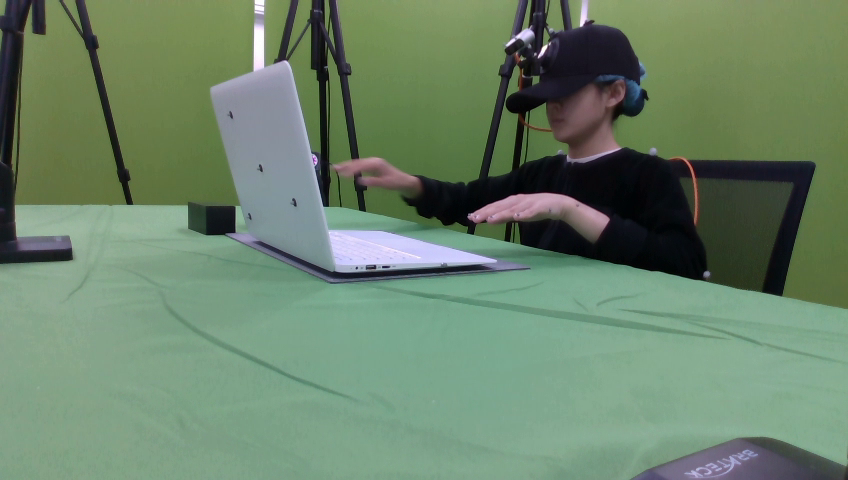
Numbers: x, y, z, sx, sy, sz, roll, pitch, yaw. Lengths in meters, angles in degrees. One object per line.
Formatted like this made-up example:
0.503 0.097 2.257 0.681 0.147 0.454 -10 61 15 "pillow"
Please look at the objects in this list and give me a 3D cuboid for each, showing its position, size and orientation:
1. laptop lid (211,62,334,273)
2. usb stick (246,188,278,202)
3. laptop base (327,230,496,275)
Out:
-0.211 -0.095 0.791 0.013 0.241 0.355 -18 18 -29 "laptop lid"
-0.314 -0.086 1.166 0.059 0.027 0.021 -4 12 -32 "usb stick"
-0.091 0.016 0.884 0.237 0.023 0.352 2 6 -32 "laptop base"
